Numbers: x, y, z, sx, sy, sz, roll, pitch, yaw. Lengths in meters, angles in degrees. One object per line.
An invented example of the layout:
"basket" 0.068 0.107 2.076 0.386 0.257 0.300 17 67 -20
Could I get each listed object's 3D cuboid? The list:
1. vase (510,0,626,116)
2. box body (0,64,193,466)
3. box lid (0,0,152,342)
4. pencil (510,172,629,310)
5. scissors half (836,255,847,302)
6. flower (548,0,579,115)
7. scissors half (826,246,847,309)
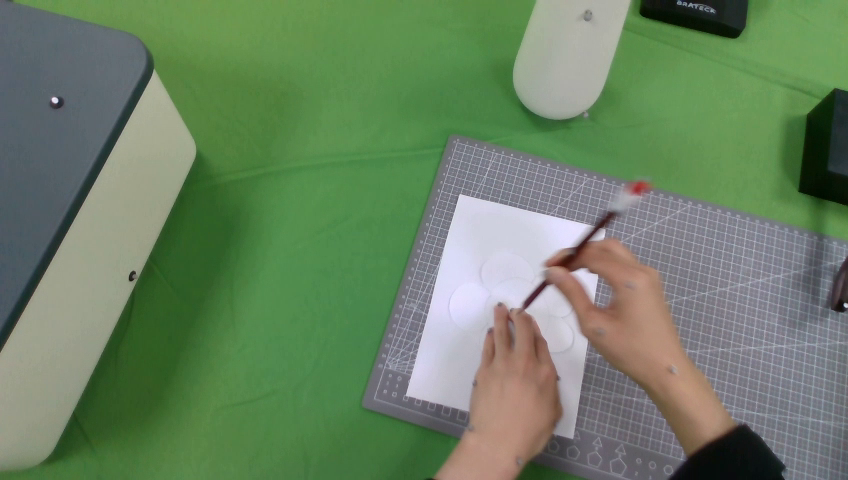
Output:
"vase" 0.141 -0.207 0.585 0.098 0.201 0.097 0 69 0
"box body" -0.395 -0.012 0.521 0.254 0.161 0.362 16 71 4
"box lid" -0.393 -0.040 0.451 0.263 0.015 0.369 16 70 4
"pencil" 0.102 0.011 0.462 0.012 0.195 0.012 8 56 -12
"scissors half" 0.420 -0.021 0.570 0.013 0.040 0.174 21 71 16
"flower" 0.139 -0.249 0.511 0.044 0.365 0.038 9 52 6
"scissors half" 0.425 -0.016 0.589 0.012 0.040 0.175 21 89 22
